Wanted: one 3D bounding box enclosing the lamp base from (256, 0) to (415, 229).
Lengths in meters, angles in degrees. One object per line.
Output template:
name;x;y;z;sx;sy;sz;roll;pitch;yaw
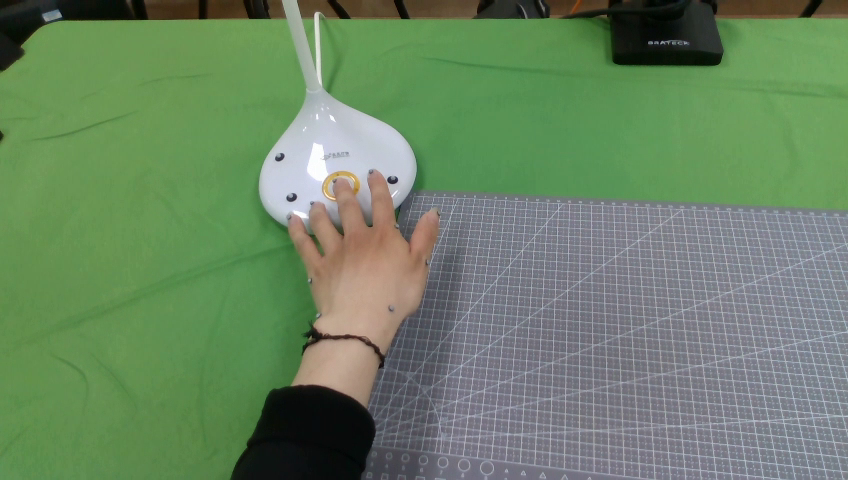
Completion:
lamp base;-0.101;-0.130;0.560;0.161;0.182;0.177;-20;48;-9
